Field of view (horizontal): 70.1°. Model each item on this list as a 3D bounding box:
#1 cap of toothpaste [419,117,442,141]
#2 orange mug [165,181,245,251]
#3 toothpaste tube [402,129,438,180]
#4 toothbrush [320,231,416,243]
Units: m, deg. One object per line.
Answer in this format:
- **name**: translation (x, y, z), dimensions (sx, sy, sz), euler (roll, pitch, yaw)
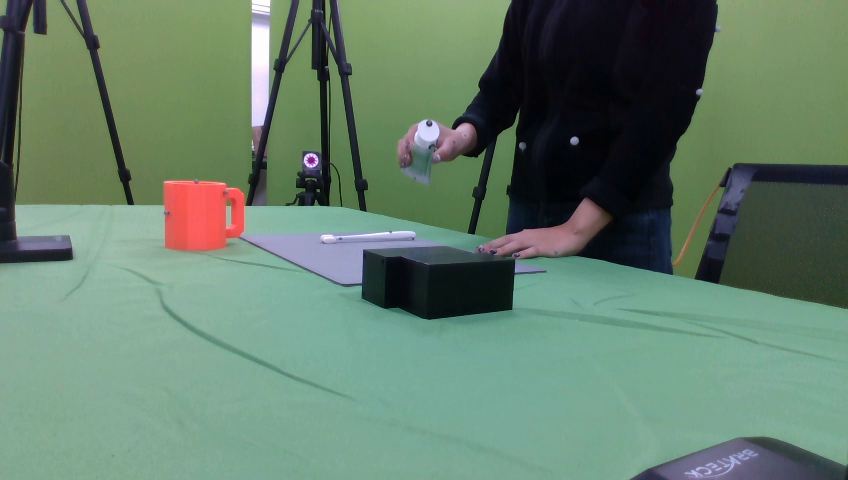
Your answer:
- **cap of toothpaste**: translation (0.009, -0.169, 0.919), dimensions (0.037, 0.037, 0.011), euler (0, -8, -16)
- **orange mug**: translation (-0.326, -0.040, 0.911), dimensions (0.083, 0.101, 0.127), euler (8, 14, 37)
- **toothpaste tube**: translation (-0.002, -0.143, 0.995), dimensions (0.055, 0.034, 0.165), euler (31, -20, 2)
- **toothbrush**: translation (-0.089, -0.006, 1.025), dimensions (0.183, 0.014, 0.016), euler (-3, 13, -34)
